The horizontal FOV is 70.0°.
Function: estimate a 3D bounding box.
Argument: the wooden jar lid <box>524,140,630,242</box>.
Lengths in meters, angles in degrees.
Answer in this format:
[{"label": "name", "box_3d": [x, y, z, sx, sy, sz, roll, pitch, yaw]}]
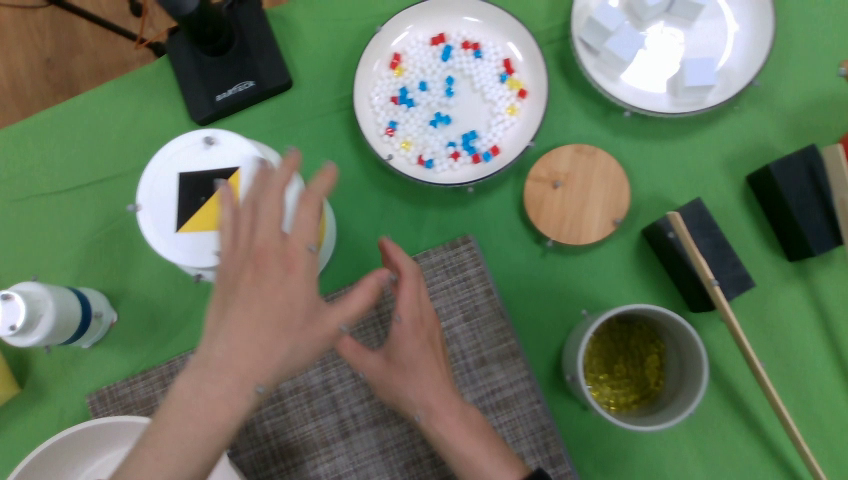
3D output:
[{"label": "wooden jar lid", "box_3d": [0.159, -0.051, 0.636, 0.108, 0.021, 0.108, 0, 84, 4]}]

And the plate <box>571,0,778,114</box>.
[{"label": "plate", "box_3d": [0.259, -0.230, 0.642, 0.207, 0.039, 0.207, -1, 83, 5]}]

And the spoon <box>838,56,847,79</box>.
[{"label": "spoon", "box_3d": [0.423, -0.110, 0.560, 0.196, 0.021, 0.041, 33, 81, -34]}]

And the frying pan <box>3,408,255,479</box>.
[{"label": "frying pan", "box_3d": [-0.200, 0.369, 0.564, 0.485, 0.103, 0.306, 36, 88, 16]}]

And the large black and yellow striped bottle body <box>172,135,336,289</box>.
[{"label": "large black and yellow striped bottle body", "box_3d": [-0.167, -0.024, 0.575, 0.131, 0.184, 0.130, -1, 82, 5]}]

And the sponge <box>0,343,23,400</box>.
[{"label": "sponge", "box_3d": [-0.556, 0.167, 0.642, 0.207, 0.061, 0.118, -36, 82, -1]}]

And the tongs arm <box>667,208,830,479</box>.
[{"label": "tongs arm", "box_3d": [0.338, 0.130, 0.563, 0.051, 0.026, 0.385, -28, 92, -2]}]

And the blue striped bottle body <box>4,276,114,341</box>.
[{"label": "blue striped bottle body", "box_3d": [-0.376, 0.069, 0.610, 0.063, 0.121, 0.063, -1, 82, 5]}]

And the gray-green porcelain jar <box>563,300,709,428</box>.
[{"label": "gray-green porcelain jar", "box_3d": [0.186, 0.111, 0.560, 0.106, 0.127, 0.105, -1, 82, 5]}]

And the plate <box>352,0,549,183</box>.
[{"label": "plate", "box_3d": [0.028, -0.161, 0.651, 0.209, 0.038, 0.208, -1, 83, 5]}]

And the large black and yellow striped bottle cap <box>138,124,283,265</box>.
[{"label": "large black and yellow striped bottle cap", "box_3d": [-0.173, -0.037, 0.493, 0.115, 0.019, 0.114, 0, 84, 4]}]

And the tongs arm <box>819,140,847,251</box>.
[{"label": "tongs arm", "box_3d": [0.416, 0.097, 0.562, 0.028, 0.027, 0.387, -14, 92, -5]}]

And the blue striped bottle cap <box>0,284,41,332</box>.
[{"label": "blue striped bottle cap", "box_3d": [-0.381, 0.063, 0.560, 0.044, 0.021, 0.044, 0, 81, 2]}]
